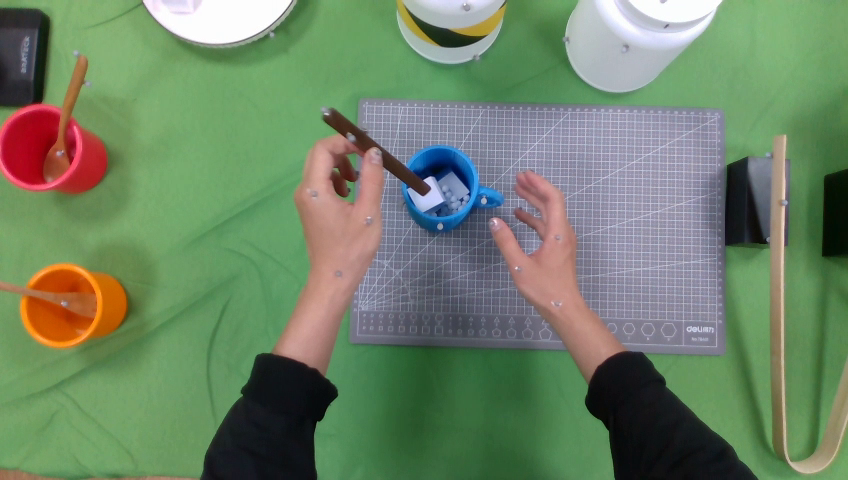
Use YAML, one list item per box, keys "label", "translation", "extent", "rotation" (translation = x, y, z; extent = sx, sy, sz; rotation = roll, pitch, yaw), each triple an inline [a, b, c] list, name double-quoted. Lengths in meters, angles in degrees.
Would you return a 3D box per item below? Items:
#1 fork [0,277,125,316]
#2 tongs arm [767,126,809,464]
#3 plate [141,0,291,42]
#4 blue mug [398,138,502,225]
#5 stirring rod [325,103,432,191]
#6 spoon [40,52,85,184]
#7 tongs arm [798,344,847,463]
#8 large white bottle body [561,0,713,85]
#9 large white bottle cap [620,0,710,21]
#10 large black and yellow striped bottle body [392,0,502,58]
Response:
- label: "fork"
  translation: [-0.434, 0.051, 0.659]
  extent: [0.209, 0.018, 0.028]
  rotation: [23, 85, -42]
- label: "tongs arm"
  translation: [0.412, 0.067, 0.681]
  extent: [0.051, 0.026, 0.385]
  rotation: [-3, 98, -3]
- label: "plate"
  translation: [-0.249, -0.339, 0.739]
  extent: [0.208, 0.039, 0.207]
  rotation: [0, 87, 0]
- label: "blue mug"
  translation: [0.031, -0.060, 0.686]
  extent: [0.116, 0.106, 0.082]
  rotation: [9, 86, 0]
- label: "stirring rod"
  translation: [-0.035, -0.079, 0.546]
  extent: [0.014, 0.178, 0.005]
  rotation: [-42, 61, 9]
- label: "spoon"
  translation: [-0.400, -0.131, 0.673]
  extent: [0.041, 0.021, 0.194]
  rotation: [48, 131, 6]
- label: "tongs arm"
  translation: [0.494, 0.069, 0.683]
  extent: [0.028, 0.027, 0.388]
  rotation: [10, 98, -8]
- label: "large white bottle body"
  translation: [0.232, -0.260, 0.661]
  extent: [0.130, 0.185, 0.130]
  rotation: [0, 86, 0]
- label: "large white bottle cap"
  translation: [0.231, -0.267, 0.577]
  extent: [0.115, 0.018, 0.114]
  rotation: [0, 86, -1]
- label: "large black and yellow striped bottle body"
  translation: [0.026, -0.294, 0.663]
  extent: [0.131, 0.184, 0.130]
  rotation: [0, 86, 0]
